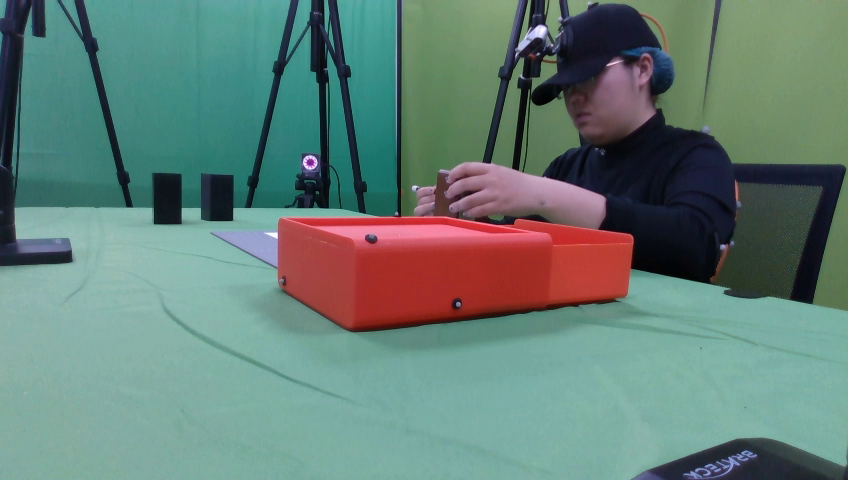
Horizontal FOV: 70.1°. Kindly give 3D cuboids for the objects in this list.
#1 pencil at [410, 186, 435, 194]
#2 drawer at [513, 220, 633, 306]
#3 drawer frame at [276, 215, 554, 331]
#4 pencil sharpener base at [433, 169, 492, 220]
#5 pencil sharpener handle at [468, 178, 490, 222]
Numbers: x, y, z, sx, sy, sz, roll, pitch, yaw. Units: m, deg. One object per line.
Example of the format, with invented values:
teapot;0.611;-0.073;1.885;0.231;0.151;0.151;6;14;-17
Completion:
pencil;0.011;-0.093;1.146;0.012;0.012;0.193;0;8;-21
drawer;0.085;0.021;0.674;0.213;0.073;0.193;-2;9;-32
drawer frame;-0.015;0.022;0.610;0.215;0.082;0.200;-2;9;-32
pencil sharpener base;0.060;-0.055;0.954;0.062;0.107;0.076;0;10;-32
pencil sharpener handle;0.088;-0.058;0.910;0.036;0.067;0.030;-4;12;-31
